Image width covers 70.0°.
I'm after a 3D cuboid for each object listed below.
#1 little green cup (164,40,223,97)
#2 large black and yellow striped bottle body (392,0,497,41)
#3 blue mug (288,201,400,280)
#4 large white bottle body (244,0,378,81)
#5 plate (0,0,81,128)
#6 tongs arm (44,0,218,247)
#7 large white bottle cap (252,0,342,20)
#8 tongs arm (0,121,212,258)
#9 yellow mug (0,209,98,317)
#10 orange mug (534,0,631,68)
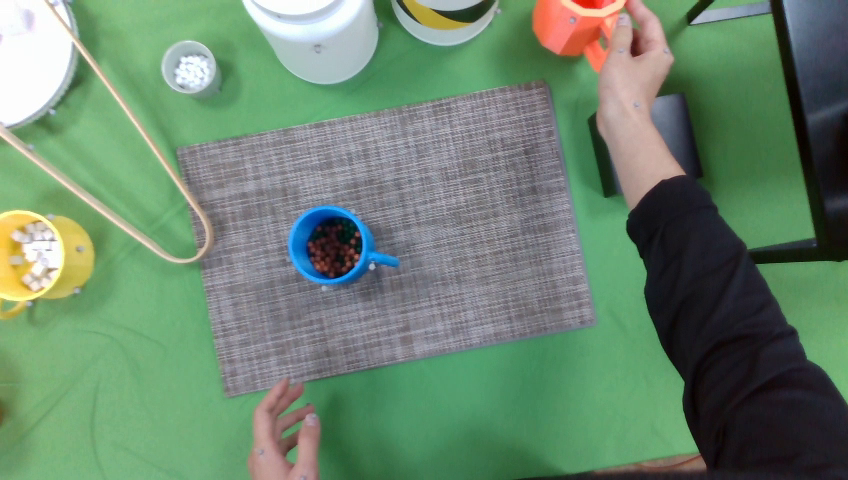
[{"bbox_3d":[-0.269,-0.200,0.715,0.061,0.038,0.061,0,89,-1],"label":"little green cup"},{"bbox_3d":[0.025,-0.308,0.650,0.131,0.184,0.130,0,88,0],"label":"large black and yellow striped bottle body"},{"bbox_3d":[-0.083,0.007,0.675,0.116,0.106,0.082,15,88,0],"label":"blue mug"},{"bbox_3d":[-0.119,-0.260,0.646,0.130,0.184,0.130,0,88,0],"label":"large white bottle body"},{"bbox_3d":[-0.504,-0.230,0.712,0.208,0.039,0.207,0,89,-1],"label":"plate"},{"bbox_3d":[-0.352,-0.158,0.697,0.028,0.027,0.388,-36,96,-11],"label":"tongs arm"},{"bbox_3d":[-0.119,-0.263,0.561,0.115,0.018,0.114,0,89,0],"label":"large white bottle cap"},{"bbox_3d":[-0.413,-0.099,0.691,0.386,0.026,0.050,41,84,-7],"label":"tongs arm"},{"bbox_3d":[-0.448,0.030,0.692,0.100,0.064,0.131,27,89,0],"label":"yellow mug"},{"bbox_3d":[0.183,-0.259,0.673,0.083,0.101,0.126,-29,82,-5],"label":"orange mug"}]
